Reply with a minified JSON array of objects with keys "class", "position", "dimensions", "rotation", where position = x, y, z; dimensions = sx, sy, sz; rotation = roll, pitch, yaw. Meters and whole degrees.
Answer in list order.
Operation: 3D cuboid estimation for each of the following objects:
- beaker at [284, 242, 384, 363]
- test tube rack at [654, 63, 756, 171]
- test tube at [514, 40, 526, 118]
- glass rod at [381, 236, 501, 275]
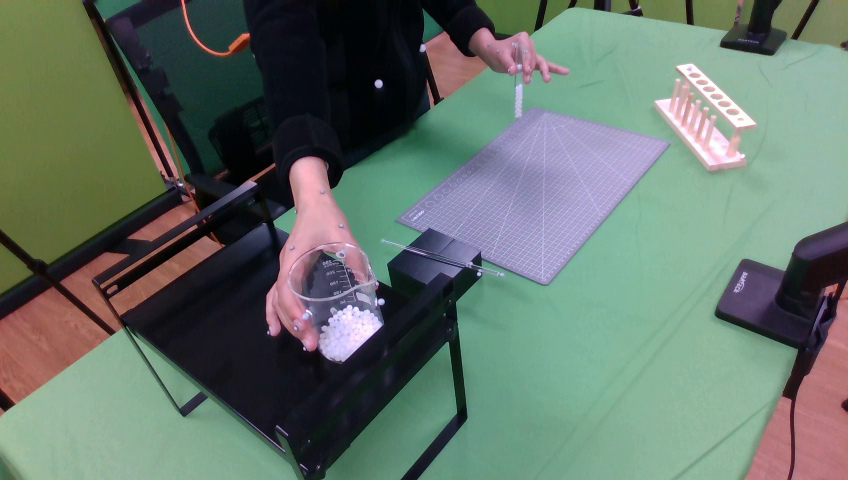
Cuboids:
[{"class":"beaker","position":[-0.077,0.063,0.573],"dimensions":[0.083,0.101,0.074],"rotation":[6,45,17]},{"class":"test tube rack","position":[0.510,-0.233,1.120],"dimensions":[0.067,0.085,0.241],"rotation":[-8,41,-1]},{"class":"test tube","position":[0.162,-0.268,1.023],"dimensions":[0.017,0.151,0.017],"rotation":[-3,50,4]},{"class":"glass rod","position":[0.020,0.022,0.881],"dimensions":[0.198,0.008,0.008],"rotation":[16,46,25]}]
